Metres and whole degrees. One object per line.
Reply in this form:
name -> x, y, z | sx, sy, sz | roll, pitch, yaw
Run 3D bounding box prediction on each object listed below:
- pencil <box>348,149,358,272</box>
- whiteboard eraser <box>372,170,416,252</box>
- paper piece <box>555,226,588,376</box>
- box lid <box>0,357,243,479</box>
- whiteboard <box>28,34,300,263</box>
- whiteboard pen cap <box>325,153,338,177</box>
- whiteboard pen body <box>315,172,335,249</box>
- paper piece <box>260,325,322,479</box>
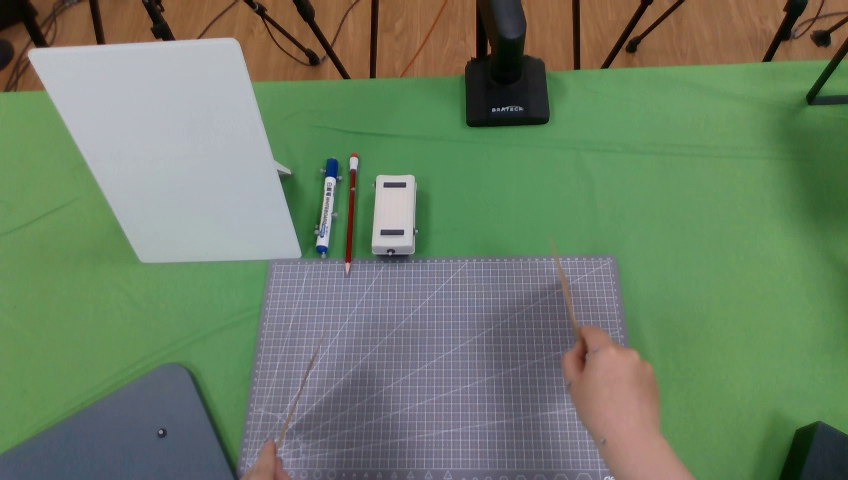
pencil -> -0.098, -0.044, 0.822 | 0.012, 0.012, 0.192 | -3, 63, 2
whiteboard eraser -> -0.039, -0.038, 0.799 | 0.055, 0.042, 0.112 | -2, 63, 4
paper piece -> 0.166, 0.071, 0.674 | 0.008, 0.137, 0.137 | -13, 61, 15
box lid -> -0.312, 0.329, 0.646 | 0.263, 0.015, 0.368 | -29, 65, -11
whiteboard -> -0.275, -0.131, 0.747 | 0.217, 0.308, 0.142 | -1, 43, 4
whiteboard pen cap -> -0.130, -0.104, 0.850 | 0.018, 0.018, 0.033 | -2, 63, 3
whiteboard pen body -> -0.133, -0.052, 0.825 | 0.017, 0.017, 0.139 | 0, 63, 4
paper piece -> -0.136, 0.160, 0.624 | 0.004, 0.135, 0.135 | 22, 93, -6
